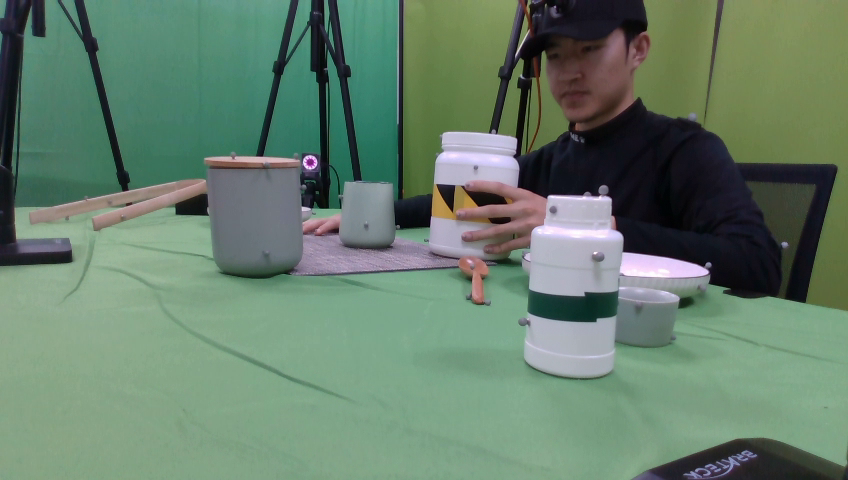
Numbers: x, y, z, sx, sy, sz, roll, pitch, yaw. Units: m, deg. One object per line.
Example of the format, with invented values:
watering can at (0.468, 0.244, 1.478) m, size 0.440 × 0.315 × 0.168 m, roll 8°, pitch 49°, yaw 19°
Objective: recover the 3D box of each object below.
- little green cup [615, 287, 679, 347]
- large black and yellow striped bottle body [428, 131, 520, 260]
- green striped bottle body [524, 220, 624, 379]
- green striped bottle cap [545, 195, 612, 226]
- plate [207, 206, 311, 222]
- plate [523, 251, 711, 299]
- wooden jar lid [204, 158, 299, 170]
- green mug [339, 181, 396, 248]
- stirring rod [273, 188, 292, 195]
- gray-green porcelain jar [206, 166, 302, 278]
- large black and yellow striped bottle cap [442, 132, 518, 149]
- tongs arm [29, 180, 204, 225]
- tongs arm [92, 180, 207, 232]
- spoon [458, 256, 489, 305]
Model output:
little green cup at (0.180, 0.064, 0.506) m, size 0.061 × 0.038 × 0.061 m, roll 2°, pitch 8°, yaw 0°
large black and yellow striped bottle body at (0.078, -0.068, 0.925) m, size 0.131 × 0.184 × 0.130 m, roll 5°, pitch 6°, yaw 0°
green striped bottle body at (0.104, 0.031, 0.422) m, size 0.063 × 0.119 × 0.063 m, roll 2°, pitch 7°, yaw 0°
green striped bottle cap at (0.106, -0.020, 0.414) m, size 0.044 × 0.020 × 0.044 m, roll 2°, pitch 4°, yaw 0°
plate at (-0.342, -0.050, 1.259) m, size 0.208 × 0.039 × 0.207 m, roll 2°, pitch 7°, yaw 0°
plate at (0.219, 0.041, 0.706) m, size 0.209 × 0.038 × 0.209 m, roll 2°, pitch 7°, yaw 0°
wooden jar lid at (-0.202, -0.086, 0.714) m, size 0.108 × 0.020 × 0.108 m, roll 3°, pitch 11°, yaw 0°
green mug at (-0.097, -0.044, 0.995) m, size 0.093 × 0.105 × 0.125 m, roll -1°, pitch 8°, yaw -21°
stirring rod at (-0.353, -0.122, 1.519) m, size 0.006 × 0.014 × 0.176 m, roll 2°, pitch 6°, yaw 1°
gray-green porcelain jar at (-0.201, -0.024, 0.724) m, size 0.106 × 0.126 × 0.106 m, roll -1°, pitch 9°, yaw 1°
large black and yellow striped bottle cap at (0.085, -0.149, 0.915) m, size 0.115 × 0.019 × 0.115 m, roll 3°, pitch 5°, yaw 0°
tongs arm at (-0.609, -0.083, 1.245) m, size 0.050 × 0.026 × 0.386 m, roll 5°, pitch 16°, yaw 23°
tongs arm at (-0.534, -0.076, 1.221) m, size 0.028 × 0.028 × 0.388 m, roll -2°, pitch 15°, yaw 12°
spoon at (0.059, 0.044, 0.695) m, size 0.041 × 0.021 × 0.194 m, roll 19°, pitch 7°, yaw 0°
